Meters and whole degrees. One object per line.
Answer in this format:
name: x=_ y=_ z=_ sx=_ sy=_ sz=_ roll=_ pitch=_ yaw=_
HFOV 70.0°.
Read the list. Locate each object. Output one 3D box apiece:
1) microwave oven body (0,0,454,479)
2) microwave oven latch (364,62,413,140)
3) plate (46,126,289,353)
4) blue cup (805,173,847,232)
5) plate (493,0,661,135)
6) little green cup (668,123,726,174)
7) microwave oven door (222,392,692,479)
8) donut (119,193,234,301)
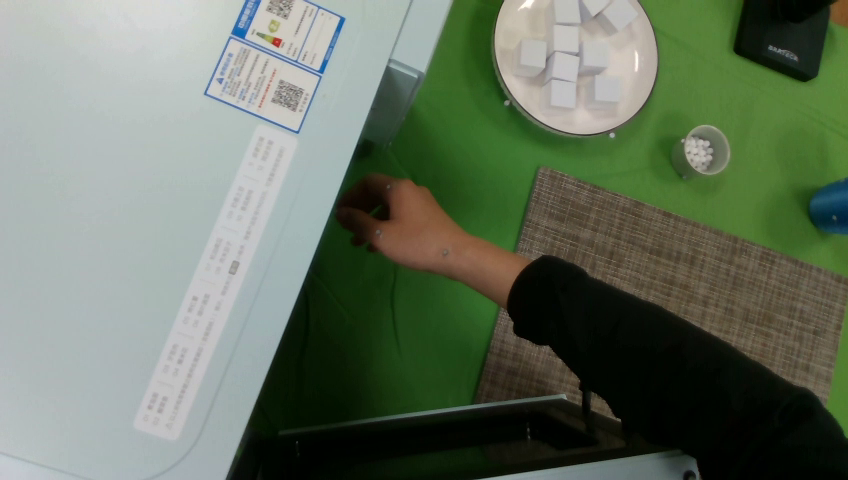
microwave oven body: x=-0.217 y=-0.047 z=0.516 sx=0.327 sy=0.260 sz=0.440 roll=21 pitch=83 yaw=-9
microwave oven latch: x=-0.039 y=-0.151 z=0.657 sx=0.030 sy=0.029 sz=0.079 roll=25 pitch=82 yaw=-9
plate: x=-0.232 y=-0.001 z=0.564 sx=0.210 sy=0.038 sz=0.208 roll=1 pitch=84 yaw=-10
blue cup: x=0.538 y=-0.047 z=0.753 sx=0.093 sy=0.100 sz=0.092 roll=1 pitch=87 yaw=-11
plate: x=0.180 y=-0.225 z=0.725 sx=0.208 sy=0.039 sz=0.207 roll=1 pitch=86 yaw=-11
little green cup: x=0.335 y=-0.110 z=0.748 sx=0.062 sy=0.038 sz=0.061 roll=1 pitch=85 yaw=-11
microwave oven door: x=0.010 y=0.192 z=0.540 sx=0.357 sy=0.243 sz=0.039 roll=-4 pitch=85 yaw=-12
donut: x=-0.223 y=0.007 z=0.550 sx=0.099 sy=0.048 sz=0.098 roll=2 pitch=78 yaw=-9
